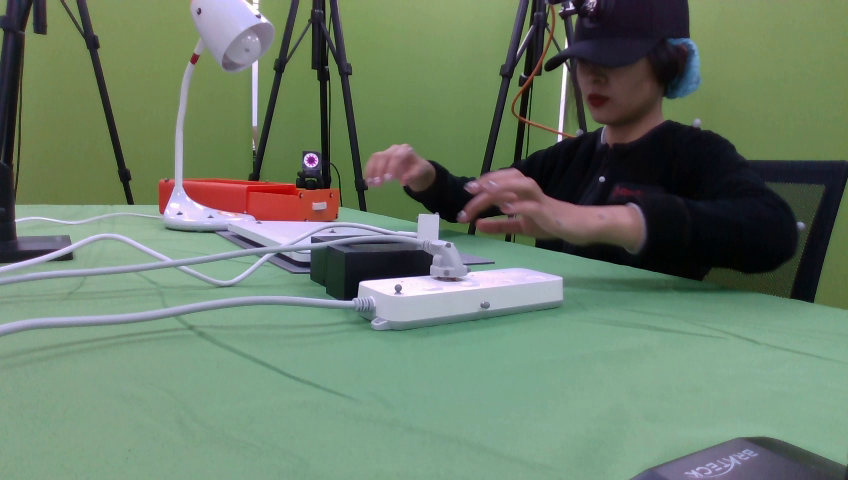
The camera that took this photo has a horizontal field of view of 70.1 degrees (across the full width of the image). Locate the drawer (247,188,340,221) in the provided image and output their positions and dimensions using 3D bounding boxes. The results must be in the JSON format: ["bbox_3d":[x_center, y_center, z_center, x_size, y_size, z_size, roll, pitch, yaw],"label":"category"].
[{"bbox_3d":[-0.314,-0.078,1.301,0.211,0.073,0.195,4,8,15],"label":"drawer"}]

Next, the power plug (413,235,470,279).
[{"bbox_3d":[0.017,0.023,0.588,0.035,0.052,0.072,-1,8,-23],"label":"power plug"}]

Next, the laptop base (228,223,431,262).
[{"bbox_3d":[-0.145,0.002,0.942,0.237,0.023,0.352,2,6,-32],"label":"laptop base"}]

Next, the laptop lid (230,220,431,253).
[{"bbox_3d":[-0.142,-0.009,0.942,0.243,0.013,0.355,1,7,-31],"label":"laptop lid"}]

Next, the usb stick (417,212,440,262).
[{"bbox_3d":[0.006,-0.003,0.721,0.027,0.059,0.021,0,-3,-4],"label":"usb stick"}]

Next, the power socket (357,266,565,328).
[{"bbox_3d":[0.041,0.049,0.572,0.228,0.032,0.072,-3,8,-35],"label":"power socket"}]

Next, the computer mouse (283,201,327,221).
[{"bbox_3d":[-0.254,-0.062,1.292,0.063,0.041,0.117,1,2,10],"label":"computer mouse"}]

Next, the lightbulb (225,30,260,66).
[{"bbox_3d":[-0.318,-0.335,1.001,0.107,0.059,0.059,47,15,5],"label":"lightbulb"}]

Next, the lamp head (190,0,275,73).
[{"bbox_3d":[-0.331,-0.355,1.008,0.123,0.112,0.112,43,15,6],"label":"lamp head"}]

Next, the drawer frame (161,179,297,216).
[{"bbox_3d":[-0.421,-0.089,1.329,0.213,0.082,0.202,4,8,16],"label":"drawer frame"}]

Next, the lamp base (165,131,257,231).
[{"bbox_3d":[-0.407,-0.112,1.119,0.179,0.180,0.161,-1,7,7],"label":"lamp base"}]
